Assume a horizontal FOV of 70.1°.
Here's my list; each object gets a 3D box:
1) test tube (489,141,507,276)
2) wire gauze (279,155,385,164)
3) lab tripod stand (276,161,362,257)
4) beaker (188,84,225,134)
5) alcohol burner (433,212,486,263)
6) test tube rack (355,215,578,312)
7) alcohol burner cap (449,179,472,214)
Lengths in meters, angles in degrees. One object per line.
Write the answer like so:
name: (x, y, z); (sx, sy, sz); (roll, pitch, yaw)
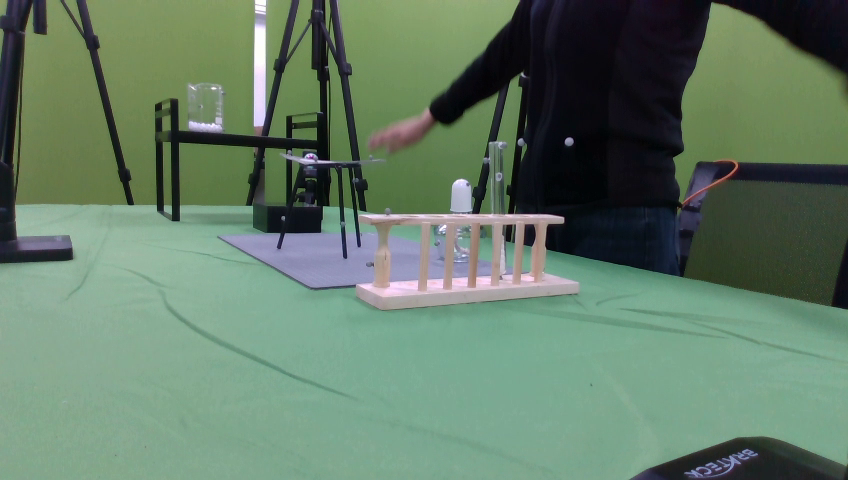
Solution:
test tube: (0.082, -0.034, 0.670); (0.017, 0.150, 0.017); (-3, 7, 1)
wire gauze: (-0.134, -0.114, 0.875); (0.122, 0.011, 0.124); (-2, 9, -30)
lab tripod stand: (-0.143, -0.049, 0.884); (0.148, 0.131, 0.148); (2, 9, 0)
beaker: (-0.459, -0.274, 1.271); (0.074, 0.100, 0.084); (3, 8, 7)
alcohol burner: (0.051, -0.027, 0.863); (0.078, 0.119, 0.078); (2, 6, 0)
test tube rack: (0.053, 0.018, 0.641); (0.243, 0.085, 0.066); (-1, 8, -29)
alcohol burner cap: (0.052, -0.063, 0.858); (0.034, 0.048, 0.034); (2, 14, 0)
